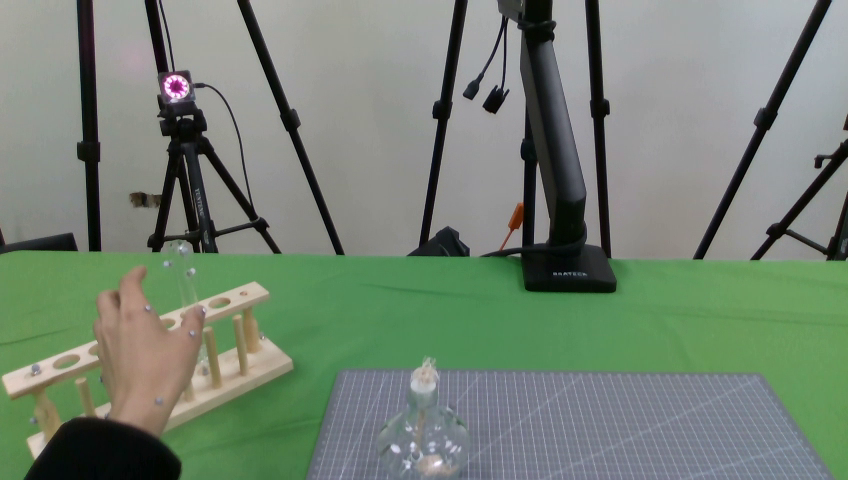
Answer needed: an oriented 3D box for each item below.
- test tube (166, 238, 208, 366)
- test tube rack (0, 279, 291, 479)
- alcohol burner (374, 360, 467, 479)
[{"bbox_3d":[-0.236,0.066,0.611,0.017,0.151,0.017,-1,29,1],"label":"test tube"},{"bbox_3d":[-0.259,0.127,0.598,0.243,0.086,0.066,-22,33,-36],"label":"test tube rack"},{"bbox_3d":[-0.003,0.151,0.500,0.078,0.120,0.077,0,24,1],"label":"alcohol burner"}]
